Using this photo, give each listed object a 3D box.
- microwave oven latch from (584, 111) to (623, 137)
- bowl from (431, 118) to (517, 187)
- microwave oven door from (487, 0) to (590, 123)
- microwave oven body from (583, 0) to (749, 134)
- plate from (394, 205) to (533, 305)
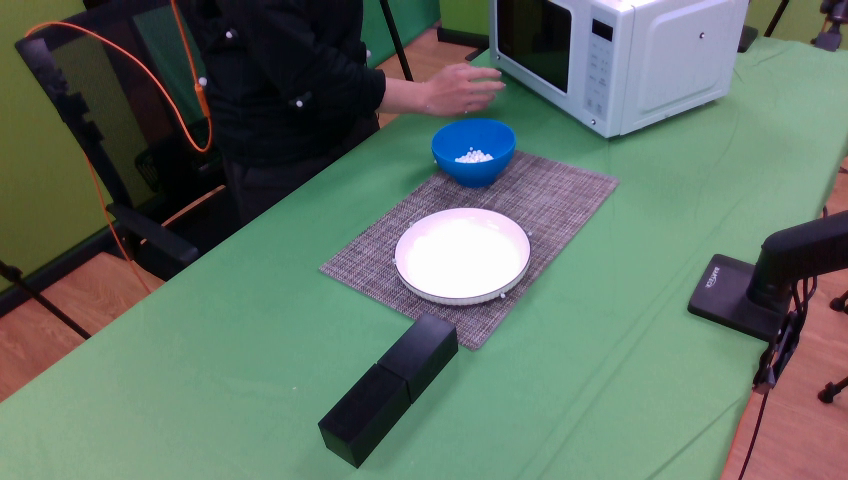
[{"bbox_3d":[0.337,-0.222,1.142,0.030,0.029,0.078,-21,42,-14],"label":"microwave oven latch"},{"bbox_3d":[0.090,-0.147,1.080,0.151,0.077,0.150,-4,41,4],"label":"bowl"},{"bbox_3d":[0.232,-0.420,1.231,0.039,0.245,0.352,-22,43,-16],"label":"microwave oven door"},{"bbox_3d":[0.382,-0.444,1.246,0.327,0.261,0.437,-22,42,-16],"label":"microwave oven body"},{"bbox_3d":[0.059,0.025,0.915,0.207,0.039,0.206,-4,41,4],"label":"plate"}]
